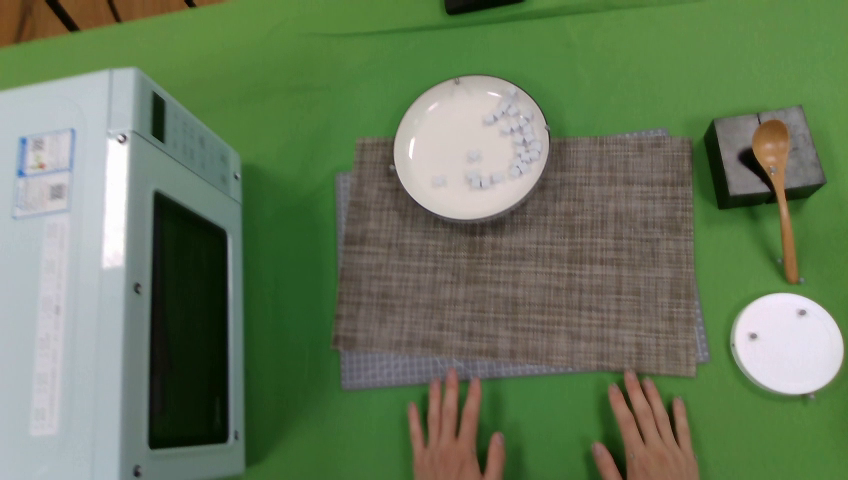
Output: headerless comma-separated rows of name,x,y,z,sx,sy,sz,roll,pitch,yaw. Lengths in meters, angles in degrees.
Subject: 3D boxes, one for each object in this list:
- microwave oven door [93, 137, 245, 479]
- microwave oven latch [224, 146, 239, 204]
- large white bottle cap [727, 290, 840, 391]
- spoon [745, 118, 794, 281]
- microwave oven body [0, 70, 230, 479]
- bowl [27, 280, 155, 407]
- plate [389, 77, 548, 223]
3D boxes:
microwave oven door,-0.279,0.092,0.695,0.039,0.245,0.353,-9,74,9
microwave oven latch,-0.278,-0.089,0.850,0.030,0.030,0.078,-8,75,8
large white bottle cap,0.410,0.114,0.693,0.114,0.018,0.114,-2,75,9
spoon,0.404,-0.044,0.698,0.041,0.021,0.194,-13,95,6
microwave oven body,-0.425,0.075,0.732,0.326,0.262,0.439,-8,74,8
bowl,-0.390,0.129,0.743,0.151,0.077,0.150,-3,74,9
plate,0.059,-0.117,0.807,0.209,0.038,0.208,-3,73,10
